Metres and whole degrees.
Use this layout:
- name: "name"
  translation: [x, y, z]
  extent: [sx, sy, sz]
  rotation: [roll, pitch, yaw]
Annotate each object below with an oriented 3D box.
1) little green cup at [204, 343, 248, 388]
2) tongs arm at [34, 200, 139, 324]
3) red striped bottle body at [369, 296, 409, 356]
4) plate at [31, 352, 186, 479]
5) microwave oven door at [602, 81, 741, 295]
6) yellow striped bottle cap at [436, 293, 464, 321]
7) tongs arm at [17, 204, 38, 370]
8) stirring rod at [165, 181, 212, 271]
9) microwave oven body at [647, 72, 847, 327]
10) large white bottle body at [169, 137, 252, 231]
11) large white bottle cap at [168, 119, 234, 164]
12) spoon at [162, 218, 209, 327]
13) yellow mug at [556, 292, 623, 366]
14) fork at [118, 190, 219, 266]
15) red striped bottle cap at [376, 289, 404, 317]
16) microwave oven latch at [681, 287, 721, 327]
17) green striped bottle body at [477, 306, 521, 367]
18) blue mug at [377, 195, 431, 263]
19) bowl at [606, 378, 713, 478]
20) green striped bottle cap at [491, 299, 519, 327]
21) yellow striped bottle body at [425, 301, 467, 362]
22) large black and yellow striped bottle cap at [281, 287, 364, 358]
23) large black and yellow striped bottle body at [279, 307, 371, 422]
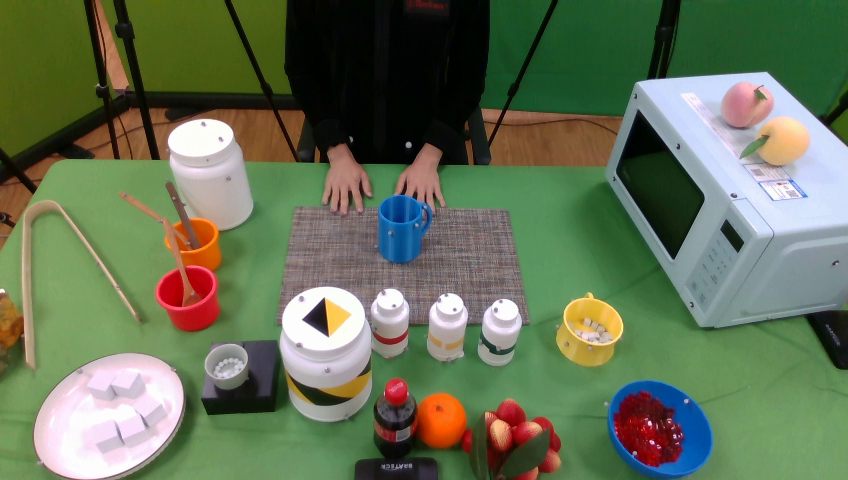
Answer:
- name: "little green cup"
  translation: [-0.294, 0.190, 0.909]
  extent: [0.061, 0.039, 0.061]
  rotation: [1, 48, -1]
- name: "tongs arm"
  translation: [-0.622, 0.034, 1.105]
  extent: [0.051, 0.026, 0.382]
  rotation: [-32, 55, -26]
- name: "red striped bottle body"
  translation: [-0.058, 0.134, 0.997]
  extent: [0.063, 0.120, 0.062]
  rotation: [4, 47, -4]
- name: "plate"
  translation: [-0.459, 0.262, 0.898]
  extent: [0.209, 0.038, 0.208]
  rotation: [2, 46, -2]
- name: "microwave oven door"
  translation: [0.456, -0.107, 1.162]
  extent: [0.039, 0.245, 0.353]
  rotation: [-7, 47, -11]
- name: "yellow striped bottle cap"
  translation: [0.041, 0.106, 0.959]
  extent: [0.044, 0.019, 0.044]
  rotation: [-1, 49, 1]
- name: "tongs arm"
  translation: [-0.698, 0.069, 1.068]
  extent: [0.028, 0.028, 0.385]
  rotation: [-20, 50, -13]
- name: "stirring rod"
  translation: [-0.430, -0.025, 1.107]
  extent: [0.014, 0.006, 0.176]
  rotation: [-25, 94, -20]
- name: "microwave oven body"
  translation: [0.607, -0.089, 1.164]
  extent: [0.326, 0.261, 0.438]
  rotation: [-7, 46, -10]
- name: "large white bottle body"
  translation: [-0.411, -0.123, 1.169]
  extent: [0.131, 0.185, 0.130]
  rotation: [2, 46, -2]
- name: "large white bottle cap"
  translation: [-0.407, -0.181, 1.108]
  extent: [0.115, 0.018, 0.114]
  rotation: [2, 47, -2]
- name: "spoon"
  translation: [-0.410, 0.054, 1.029]
  extent: [0.041, 0.021, 0.194]
  rotation: [-17, 94, -16]
- name: "yellow mug"
  translation: [0.285, 0.145, 1.051]
  extent: [0.100, 0.064, 0.130]
  rotation: [7, 45, 3]
- name: "fork"
  translation: [-0.459, -0.020, 1.092]
  extent: [0.208, 0.018, 0.028]
  rotation: [44, 44, -24]
- name: "red striped bottle cap"
  translation: [-0.055, 0.098, 0.958]
  extent: [0.044, 0.018, 0.044]
  rotation: [0, 48, 0]
- name: "microwave oven latch"
  translation: [0.494, 0.119, 1.087]
  extent: [0.030, 0.029, 0.078]
  rotation: [-6, 46, -9]
- name: "green striped bottle body"
  translation: [0.124, 0.151, 0.995]
  extent: [0.063, 0.120, 0.063]
  rotation: [2, 46, -2]
- name: "blue mug"
  translation: [-0.035, -0.027, 1.159]
  extent: [0.116, 0.106, 0.082]
  rotation: [-24, 53, -25]
- name: "bowl"
  translation: [0.340, 0.292, 0.906]
  extent: [0.151, 0.077, 0.150]
  rotation: [2, 46, -2]
- name: "green striped bottle cap"
  translation: [0.128, 0.115, 0.958]
  extent: [0.044, 0.020, 0.044]
  rotation: [1, 46, -1]
- name: "yellow striped bottle body"
  translation: [0.037, 0.142, 0.996]
  extent: [0.063, 0.121, 0.062]
  rotation: [3, 47, -3]
- name: "large black and yellow striped bottle cap"
  translation: [-0.141, 0.113, 0.847]
  extent: [0.115, 0.019, 0.114]
  rotation: [5, 45, -4]
- name: "large black and yellow striped bottle body"
  translation: [-0.145, 0.173, 0.907]
  extent: [0.131, 0.185, 0.130]
  rotation: [2, 46, -2]
